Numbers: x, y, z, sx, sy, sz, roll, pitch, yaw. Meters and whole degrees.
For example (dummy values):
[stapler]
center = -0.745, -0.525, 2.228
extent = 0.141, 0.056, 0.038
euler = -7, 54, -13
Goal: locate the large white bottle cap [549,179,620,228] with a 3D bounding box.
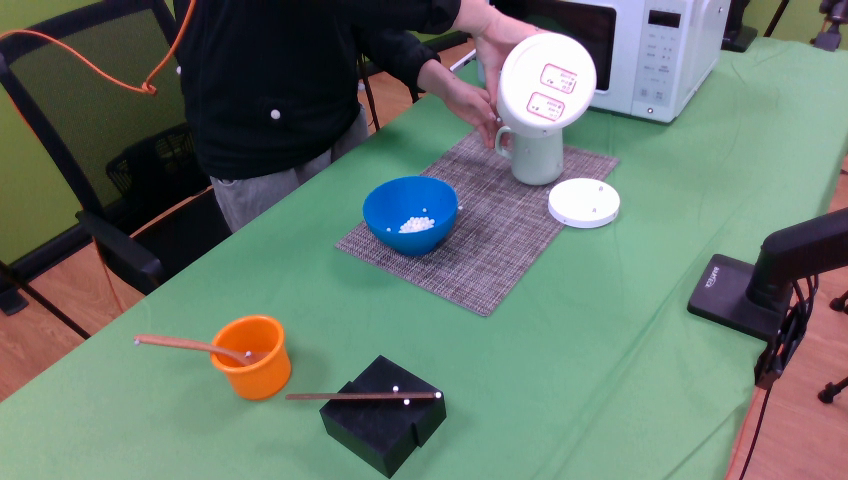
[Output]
[large white bottle cap]
center = 0.265, -0.062, 1.001
extent = 0.115, 0.018, 0.114
euler = -4, 41, 4

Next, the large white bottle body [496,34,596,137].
[large white bottle body]
center = 0.175, -0.224, 0.910
extent = 0.130, 0.130, 0.184
euler = -4, 5, 4

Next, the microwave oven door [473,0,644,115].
[microwave oven door]
center = 0.257, -0.396, 1.199
extent = 0.353, 0.245, 0.039
euler = 21, 48, 29

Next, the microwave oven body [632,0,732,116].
[microwave oven body]
center = 0.377, -0.462, 1.267
extent = 0.438, 0.261, 0.327
euler = 21, 48, 30

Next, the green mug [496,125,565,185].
[green mug]
center = 0.185, -0.162, 1.061
extent = 0.124, 0.105, 0.092
euler = 16, 46, 24

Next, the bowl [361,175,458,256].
[bowl]
center = -0.019, -0.028, 0.955
extent = 0.151, 0.077, 0.150
euler = -4, 40, 4

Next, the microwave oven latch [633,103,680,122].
[microwave oven latch]
center = 0.443, -0.249, 1.157
extent = 0.078, 0.029, 0.030
euler = 21, 49, 30

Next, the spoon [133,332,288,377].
[spoon]
center = -0.257, 0.137, 0.747
extent = 0.021, 0.195, 0.041
euler = -46, 40, 23

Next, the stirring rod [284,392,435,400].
[stirring rod]
center = -0.075, 0.180, 0.698
extent = 0.176, 0.006, 0.014
euler = -2, 6, 7
